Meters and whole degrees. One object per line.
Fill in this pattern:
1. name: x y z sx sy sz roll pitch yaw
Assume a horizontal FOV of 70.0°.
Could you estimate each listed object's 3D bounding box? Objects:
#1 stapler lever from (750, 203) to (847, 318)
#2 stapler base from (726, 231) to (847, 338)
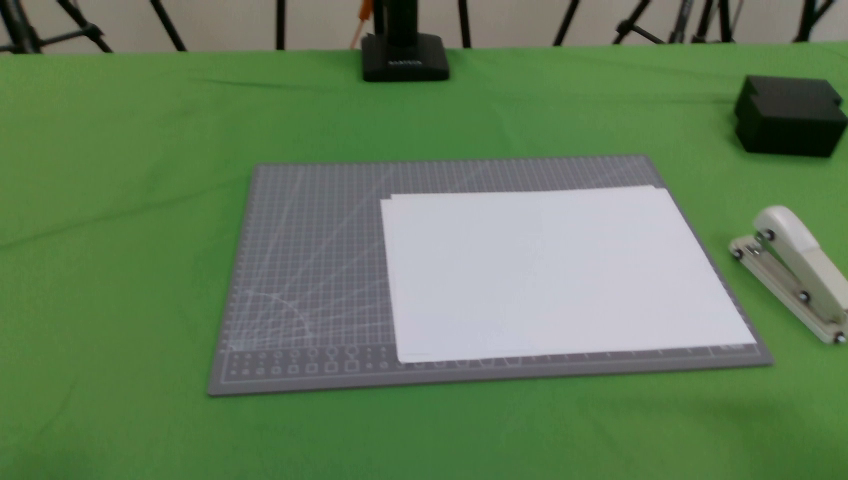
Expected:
1. stapler lever: 0.336 0.014 0.534 0.027 0.040 0.116 -14 47 -14
2. stapler base: 0.334 0.031 0.552 0.041 0.024 0.129 -14 47 -14
